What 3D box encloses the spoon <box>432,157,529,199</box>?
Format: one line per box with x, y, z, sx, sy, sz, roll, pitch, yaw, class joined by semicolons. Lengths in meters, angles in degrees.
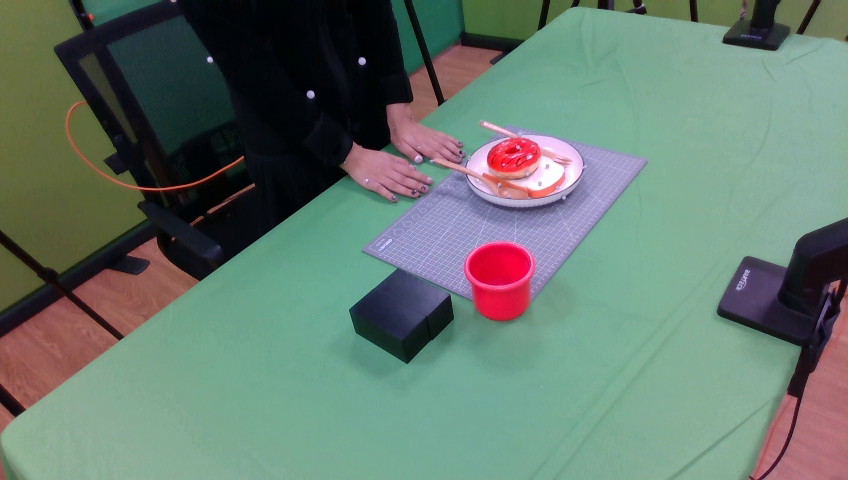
0.095;-0.108;1.055;0.192;0.022;0.042;30;48;21;spoon

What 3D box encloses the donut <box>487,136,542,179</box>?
0.159;-0.147;1.068;0.099;0.048;0.098;-9;39;8;donut

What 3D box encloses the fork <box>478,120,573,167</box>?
0.185;-0.183;1.130;0.206;0.019;0.028;33;69;24;fork

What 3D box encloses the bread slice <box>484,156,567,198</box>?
0.187;-0.120;1.077;0.130;0.019;0.105;27;53;37;bread slice

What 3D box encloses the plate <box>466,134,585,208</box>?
0.178;-0.120;1.075;0.209;0.038;0.208;-5;40;5;plate
